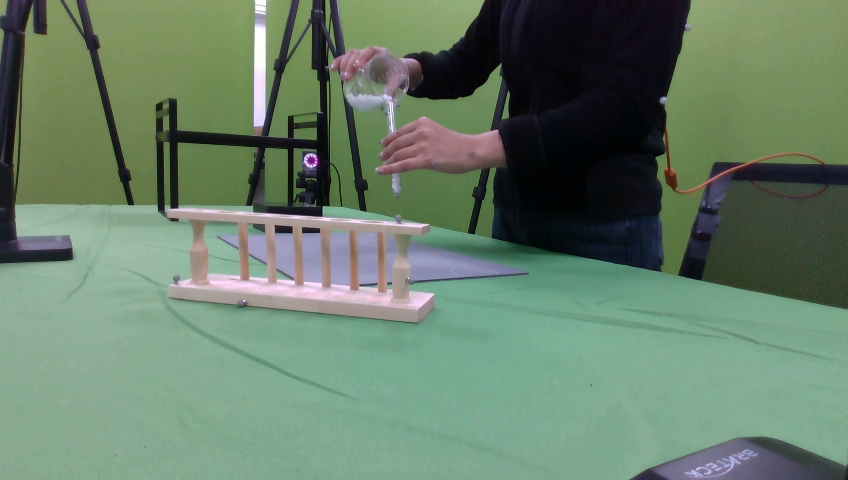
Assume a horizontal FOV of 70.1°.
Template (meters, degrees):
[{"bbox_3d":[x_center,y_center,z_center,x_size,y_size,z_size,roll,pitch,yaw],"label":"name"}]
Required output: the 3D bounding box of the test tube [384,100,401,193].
[{"bbox_3d":[-0.049,-0.144,0.924,0.017,0.150,0.017,-5,-14,-1],"label":"test tube"}]

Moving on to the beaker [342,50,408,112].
[{"bbox_3d":[-0.082,-0.251,0.980,0.074,0.084,0.100,-8,0,-33],"label":"beaker"}]

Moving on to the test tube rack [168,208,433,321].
[{"bbox_3d":[-0.116,0.017,0.574,0.242,0.085,0.067,4,8,13],"label":"test tube rack"}]
